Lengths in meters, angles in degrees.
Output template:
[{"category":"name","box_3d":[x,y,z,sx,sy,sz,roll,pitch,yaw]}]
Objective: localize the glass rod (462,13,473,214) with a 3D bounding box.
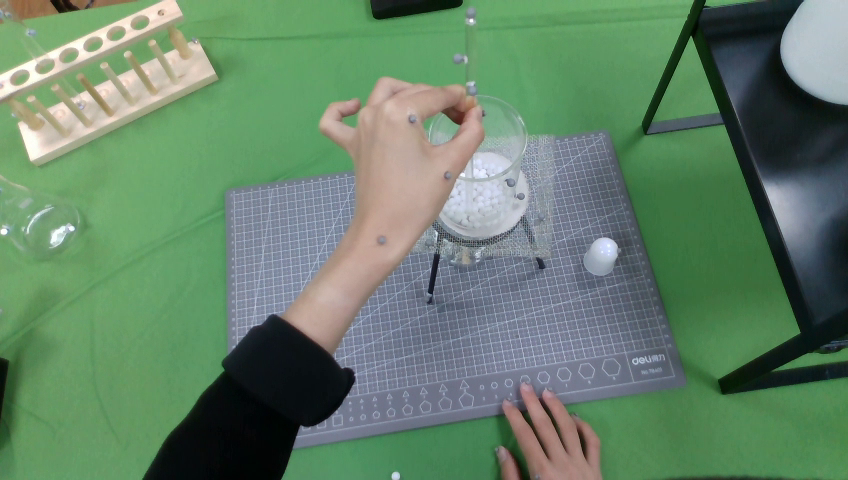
[{"category":"glass rod","box_3d":[0.030,-0.076,0.433,0.008,0.201,0.008,-2,58,3]}]

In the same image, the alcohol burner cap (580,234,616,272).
[{"category":"alcohol burner cap","box_3d":[0.181,0.011,0.626,0.034,0.048,0.033,-1,67,4]}]

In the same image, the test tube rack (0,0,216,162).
[{"category":"test tube rack","box_3d":[-0.387,-0.193,0.726,0.242,0.086,0.066,-29,68,-8]}]

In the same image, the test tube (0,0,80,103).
[{"category":"test tube","box_3d":[-0.433,-0.209,0.682,0.017,0.151,0.017,-2,61,3]}]

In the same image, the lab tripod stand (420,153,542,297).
[{"category":"lab tripod stand","box_3d":[0.050,-0.014,0.595,0.148,0.132,0.147,-1,66,2]}]

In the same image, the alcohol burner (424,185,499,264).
[{"category":"alcohol burner","box_3d":[0.038,-0.022,0.609,0.078,0.120,0.077,-1,66,2]}]

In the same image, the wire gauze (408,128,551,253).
[{"category":"wire gauze","box_3d":[0.051,-0.045,0.536,0.121,0.011,0.124,4,66,3]}]

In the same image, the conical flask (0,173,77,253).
[{"category":"conical flask","box_3d":[-0.439,-0.040,0.646,0.075,0.123,0.075,-1,67,4]}]

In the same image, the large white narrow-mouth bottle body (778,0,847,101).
[{"category":"large white narrow-mouth bottle body","box_3d":[0.340,-0.190,0.425,0.102,0.196,0.101,-2,67,5]}]

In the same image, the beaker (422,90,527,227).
[{"category":"beaker","box_3d":[0.038,-0.058,0.490,0.084,0.101,0.073,-31,69,-9]}]
